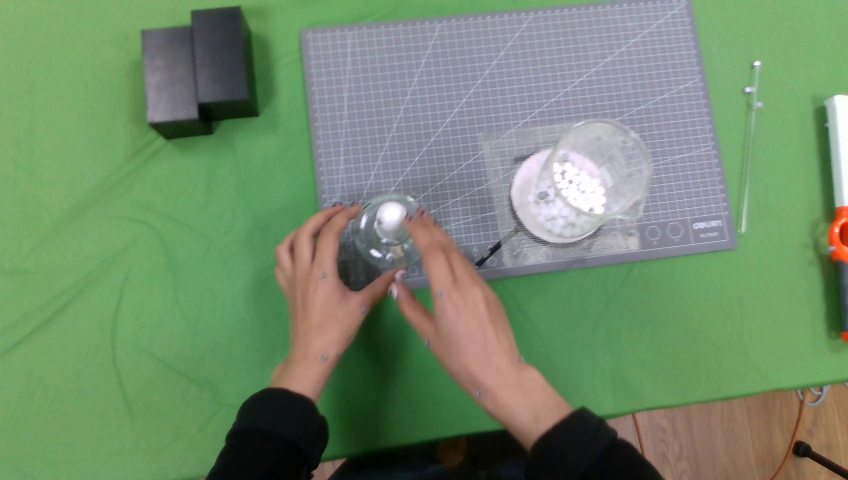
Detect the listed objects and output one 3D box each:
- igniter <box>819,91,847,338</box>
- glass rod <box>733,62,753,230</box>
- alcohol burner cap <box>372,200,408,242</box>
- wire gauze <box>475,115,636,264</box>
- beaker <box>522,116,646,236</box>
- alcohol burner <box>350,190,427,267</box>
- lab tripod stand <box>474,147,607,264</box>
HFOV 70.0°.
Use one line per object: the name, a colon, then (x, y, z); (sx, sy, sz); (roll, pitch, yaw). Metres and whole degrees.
igniter: (0.468, -0.031, 0.673); (0.057, 0.025, 0.275); (2, 82, -14)
glass rod: (0.362, -0.109, 0.687); (0.008, 0.008, 0.199); (9, 82, -2)
alcohol burner cap: (-0.032, -0.019, 0.557); (0.034, 0.048, 0.033); (0, 76, -1)
wire gauze: (0.116, -0.045, 0.530); (0.125, 0.011, 0.121); (-8, 81, -3)
beaker: (0.123, -0.043, 0.481); (0.074, 0.100, 0.084); (-39, 84, -8)
alcohol burner: (-0.034, -0.015, 0.592); (0.078, 0.119, 0.077); (1, 79, -4)
lab tripod stand: (0.112, -0.032, 0.594); (0.148, 0.132, 0.148); (0, 81, -1)
